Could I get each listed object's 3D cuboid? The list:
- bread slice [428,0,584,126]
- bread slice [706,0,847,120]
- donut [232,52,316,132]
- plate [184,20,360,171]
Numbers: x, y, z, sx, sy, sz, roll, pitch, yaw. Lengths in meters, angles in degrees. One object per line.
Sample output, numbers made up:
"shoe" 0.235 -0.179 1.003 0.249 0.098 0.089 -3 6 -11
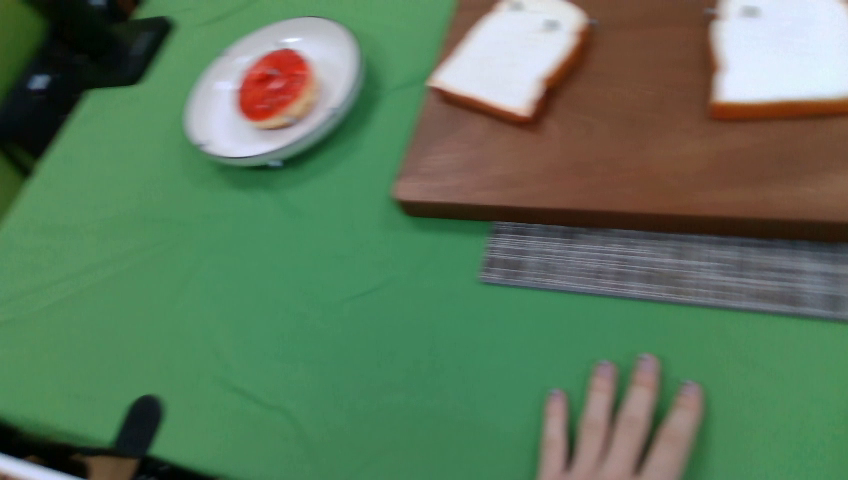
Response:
"bread slice" 0.080 -0.166 0.550 0.106 0.018 0.134 24 71 32
"bread slice" 0.271 -0.147 0.461 0.104 0.019 0.130 1 60 21
"donut" -0.162 -0.160 0.652 0.099 0.049 0.098 -12 56 18
"plate" -0.162 -0.155 0.664 0.209 0.038 0.207 -11 55 16
